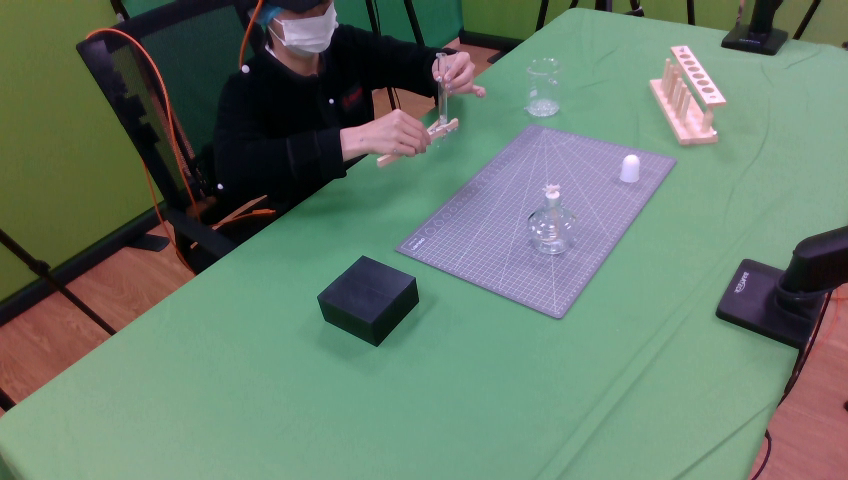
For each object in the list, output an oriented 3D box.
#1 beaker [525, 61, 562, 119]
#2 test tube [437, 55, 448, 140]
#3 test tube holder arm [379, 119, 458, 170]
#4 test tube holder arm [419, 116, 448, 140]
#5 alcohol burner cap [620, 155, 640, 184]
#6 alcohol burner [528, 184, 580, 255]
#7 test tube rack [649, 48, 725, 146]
[{"bbox_3d":[0.248,-0.309,1.245,0.073,0.101,0.084,30,52,36],"label":"beaker"},{"bbox_3d":[0.031,-0.239,1.030,0.017,0.151,0.017,-2,36,2],"label":"test tube"},{"bbox_3d":[-0.007,-0.164,1.023,0.013,0.015,0.179,25,49,39],"label":"test tube holder arm"},{"bbox_3d":[0.017,-0.190,1.052,0.010,0.015,0.088,12,42,27],"label":"test tube holder arm"},{"bbox_3d":[0.358,-0.124,1.047,0.034,0.048,0.033,-4,40,4],"label":"alcohol burner cap"},{"bbox_3d":[0.196,-0.036,0.911,0.078,0.119,0.077,-6,41,5],"label":"alcohol burner"},{"bbox_3d":[0.508,-0.285,1.186,0.067,0.085,0.241,-4,40,6],"label":"test tube rack"}]
